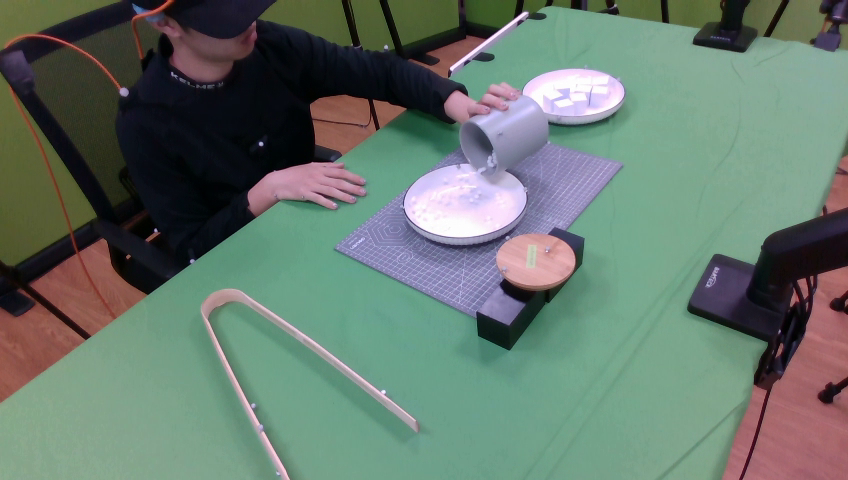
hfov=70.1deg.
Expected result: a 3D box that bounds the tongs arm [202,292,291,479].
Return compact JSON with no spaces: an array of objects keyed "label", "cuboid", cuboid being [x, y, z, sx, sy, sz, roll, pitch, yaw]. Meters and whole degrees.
[{"label":"tongs arm","cuboid":[-0.216,0.187,0.772,0.051,0.026,0.381,-27,43,-24]}]

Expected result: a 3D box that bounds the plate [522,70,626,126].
[{"label":"plate","cuboid":[0.308,-0.289,1.251,0.207,0.039,0.206,-4,40,4]}]

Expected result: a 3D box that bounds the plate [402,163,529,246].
[{"label":"plate","cuboid":[0.069,-0.056,1.008,0.209,0.038,0.208,-4,40,4]}]

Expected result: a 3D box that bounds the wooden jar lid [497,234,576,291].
[{"label":"wooden jar lid","cuboid":[0.155,0.032,0.834,0.108,0.021,0.108,-5,40,4]}]

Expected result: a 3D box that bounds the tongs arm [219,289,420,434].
[{"label":"tongs arm","cuboid":[-0.152,0.151,0.812,0.384,0.028,0.028,26,53,33]}]

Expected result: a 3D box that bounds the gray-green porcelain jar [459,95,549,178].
[{"label":"gray-green porcelain jar","cuboid":[0.140,-0.180,1.032,0.127,0.106,0.105,-31,46,-21]}]
